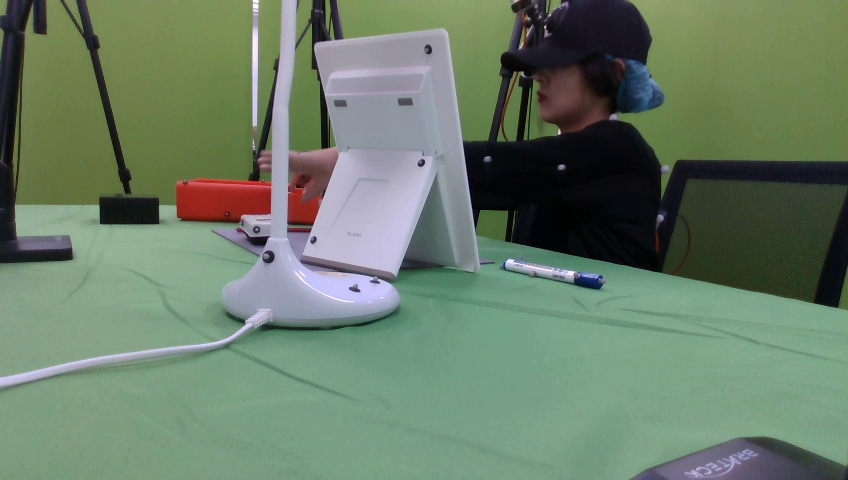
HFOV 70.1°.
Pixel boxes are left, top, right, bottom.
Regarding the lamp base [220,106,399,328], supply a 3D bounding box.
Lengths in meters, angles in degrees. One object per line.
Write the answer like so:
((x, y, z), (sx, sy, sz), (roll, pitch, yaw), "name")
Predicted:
((-0.101, -0.023, 0.531), (0.160, 0.180, 0.179), (4, 10, 10), "lamp base")

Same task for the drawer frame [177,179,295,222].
((-0.397, -0.088, 1.315), (0.214, 0.082, 0.201), (1, 8, -7), "drawer frame")

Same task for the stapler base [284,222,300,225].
((-0.281, -0.054, 1.321), (0.041, 0.024, 0.130), (-8, 9, 0), "stapler base")

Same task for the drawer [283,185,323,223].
((-0.329, -0.084, 1.325), (0.212, 0.073, 0.194), (1, 9, -7), "drawer")

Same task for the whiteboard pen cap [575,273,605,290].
((0.197, 0.048, 0.719), (0.018, 0.018, 0.033), (-4, 11, -41), "whiteboard pen cap")

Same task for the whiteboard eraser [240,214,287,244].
((-0.256, -0.018, 0.958), (0.056, 0.042, 0.112), (0, 8, -25), "whiteboard eraser")

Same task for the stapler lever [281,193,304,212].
((-0.286, -0.082, 1.318), (0.027, 0.040, 0.118), (-8, 5, 0), "stapler lever")

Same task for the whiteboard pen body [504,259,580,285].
((0.157, 0.042, 0.764), (0.017, 0.017, 0.140), (-4, 10, -41), "whiteboard pen body")

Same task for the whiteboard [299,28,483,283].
((-0.075, -0.082, 0.741), (0.216, 0.305, 0.144), (9, 30, 38), "whiteboard")

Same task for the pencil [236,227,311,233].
((-0.238, -0.017, 1.093), (0.195, 0.012, 0.012), (1, 7, -26), "pencil")
